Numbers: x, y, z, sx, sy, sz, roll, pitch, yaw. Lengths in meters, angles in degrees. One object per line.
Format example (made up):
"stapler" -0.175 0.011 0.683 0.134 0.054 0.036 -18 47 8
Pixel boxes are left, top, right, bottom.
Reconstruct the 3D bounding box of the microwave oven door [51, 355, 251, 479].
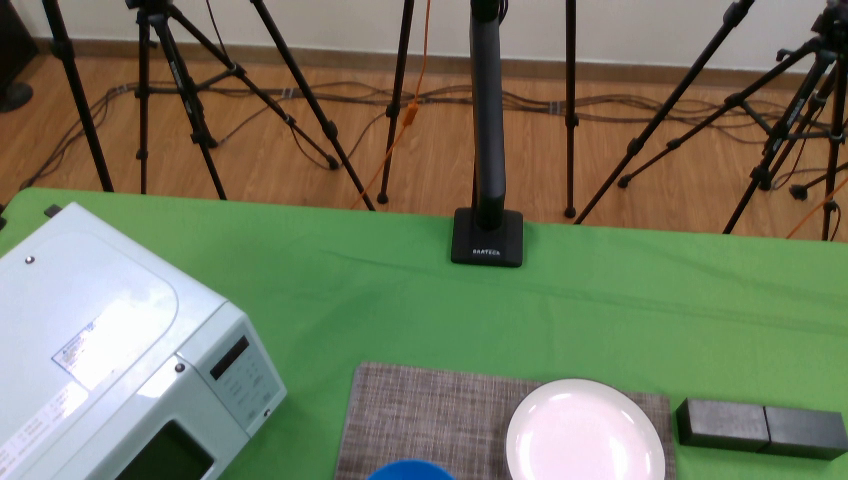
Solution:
"microwave oven door" -0.350 0.311 0.651 0.039 0.246 0.354 27 60 20

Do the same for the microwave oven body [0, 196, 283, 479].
"microwave oven body" -0.448 0.221 0.723 0.324 0.262 0.440 28 61 19

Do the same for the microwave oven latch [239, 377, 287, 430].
"microwave oven latch" -0.225 0.221 0.838 0.030 0.030 0.079 30 61 20

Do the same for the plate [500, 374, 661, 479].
"plate" 0.204 0.282 0.806 0.208 0.039 0.205 0 55 1

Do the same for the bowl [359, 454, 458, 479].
"bowl" -0.018 0.348 0.738 0.151 0.077 0.150 0 55 1
